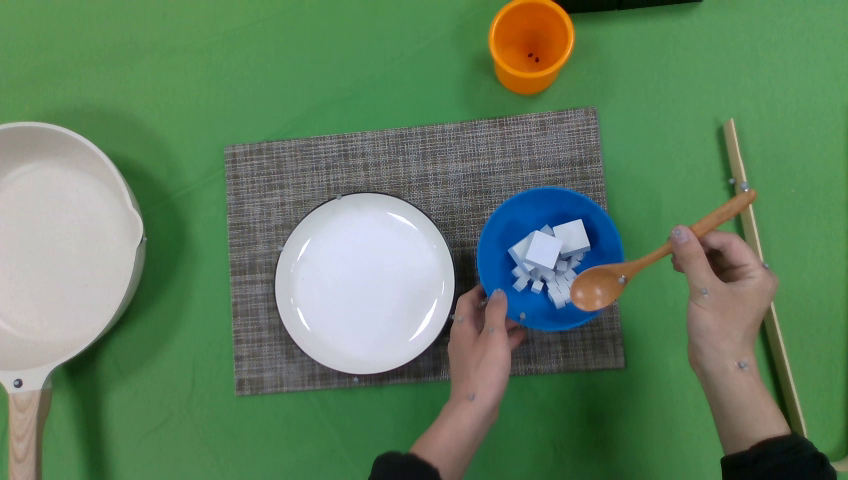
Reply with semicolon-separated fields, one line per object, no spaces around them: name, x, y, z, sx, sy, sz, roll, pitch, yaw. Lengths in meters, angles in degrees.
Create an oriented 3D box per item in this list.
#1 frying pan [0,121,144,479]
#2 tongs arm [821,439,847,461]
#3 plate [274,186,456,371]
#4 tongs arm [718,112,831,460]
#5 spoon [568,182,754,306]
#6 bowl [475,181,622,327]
frying pan;-0.453;0.109;0.692;0.307;0.103;0.485;-8;76;5
tongs arm;0.457;0.041;0.652;0.050;0.026;0.384;2;86;7
plate;-0.066;0.044;0.693;0.207;0.039;0.207;-1;85;6
tongs arm;0.376;0.046;0.664;0.028;0.028;0.386;-11;84;2
spoon;0.204;0.008;0.538;0.041;0.021;0.194;50;134;1
bowl;0.130;0.018;0.658;0.151;0.077;0.151;0;84;5
